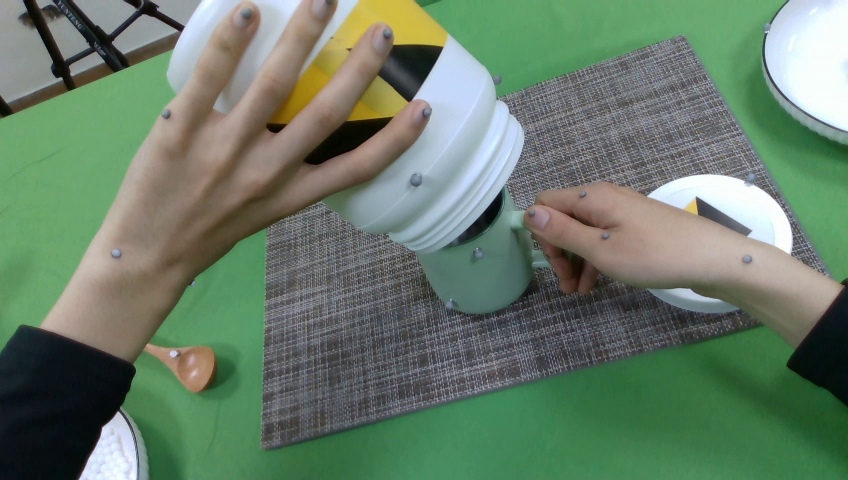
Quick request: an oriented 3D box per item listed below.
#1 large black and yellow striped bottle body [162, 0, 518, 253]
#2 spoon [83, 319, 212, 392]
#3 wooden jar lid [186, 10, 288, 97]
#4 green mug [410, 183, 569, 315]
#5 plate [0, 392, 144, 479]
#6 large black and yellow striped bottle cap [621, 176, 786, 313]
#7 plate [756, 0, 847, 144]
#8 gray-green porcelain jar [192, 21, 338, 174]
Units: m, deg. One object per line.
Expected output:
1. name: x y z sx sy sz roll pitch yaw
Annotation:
1. large black and yellow striped bottle body: -0.044 -0.087 0.372 0.131 0.185 0.129 -44 21 22
2. spoon: -0.268 0.101 0.577 0.192 0.022 0.041 13 79 27
3. wooden jar lid: -0.174 -0.176 0.575 0.108 0.021 0.107 -12 54 17
4. green mug: 0.048 0.001 0.469 0.125 0.106 0.092 1 59 21
5. plate: -0.319 0.232 0.503 0.209 0.038 0.207 -9 56 14
6. large black and yellow striped bottle cap: 0.211 0.001 0.463 0.115 0.019 0.114 -11 55 16
7. plate: 0.382 -0.148 0.487 0.207 0.039 0.205 -10 56 15
8. gray-green porcelain jar: -0.155 -0.139 0.623 0.105 0.128 0.105 -11 51 14
